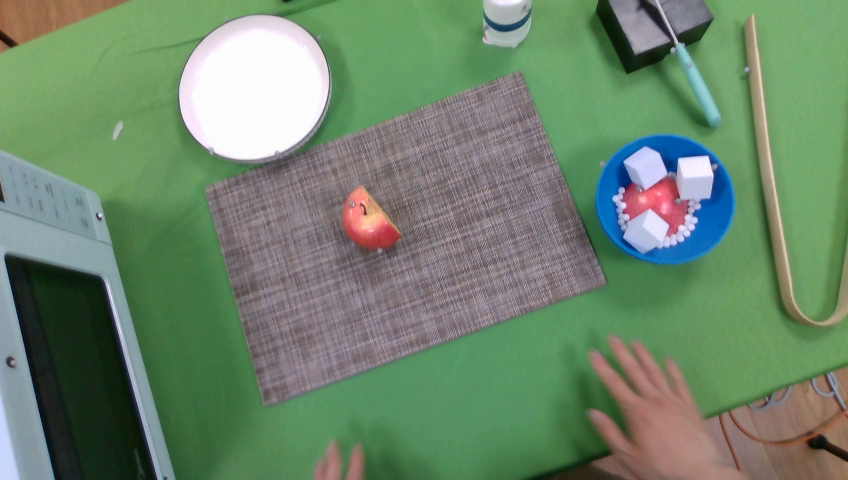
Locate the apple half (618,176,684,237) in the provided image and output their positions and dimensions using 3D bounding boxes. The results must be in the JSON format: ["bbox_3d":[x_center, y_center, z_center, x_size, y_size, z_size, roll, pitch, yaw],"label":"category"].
[{"bbox_3d":[0.271,-0.043,0.712,0.081,0.033,0.081,-2,79,8],"label":"apple half"}]

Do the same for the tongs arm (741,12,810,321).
[{"bbox_3d":[0.418,-0.096,0.734,0.028,0.028,0.386,-3,79,2],"label":"tongs arm"}]

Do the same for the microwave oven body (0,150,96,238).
[{"bbox_3d":[-0.525,0.166,0.663,0.326,0.261,0.439,-22,79,1],"label":"microwave oven body"}]

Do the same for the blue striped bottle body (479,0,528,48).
[{"bbox_3d":[0.099,-0.298,0.759,0.063,0.121,0.063,-1,79,6],"label":"blue striped bottle body"}]

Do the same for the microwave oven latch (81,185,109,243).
[{"bbox_3d":[-0.439,-0.031,0.790,0.030,0.029,0.079,-22,79,1],"label":"microwave oven latch"}]

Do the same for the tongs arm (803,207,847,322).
[{"bbox_3d":[0.499,-0.090,0.722,0.050,0.026,0.383,10,81,8],"label":"tongs arm"}]

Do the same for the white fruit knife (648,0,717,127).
[{"bbox_3d":[0.308,-0.232,0.742,0.016,0.027,0.207,-28,94,18],"label":"white fruit knife"}]

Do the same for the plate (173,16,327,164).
[{"bbox_3d":[-0.230,-0.199,0.818,0.207,0.039,0.206,-1,80,5],"label":"plate"}]

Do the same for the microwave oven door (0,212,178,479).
[{"bbox_3d":[-0.375,0.149,0.646,0.039,0.245,0.354,-22,78,2],"label":"microwave oven door"}]

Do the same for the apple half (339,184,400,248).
[{"bbox_3d":[-0.073,-0.022,0.747,0.053,0.075,0.080,-40,81,3],"label":"apple half"}]

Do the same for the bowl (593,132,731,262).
[{"bbox_3d":[0.271,-0.043,0.716,0.151,0.077,0.150,-1,80,6],"label":"bowl"}]
